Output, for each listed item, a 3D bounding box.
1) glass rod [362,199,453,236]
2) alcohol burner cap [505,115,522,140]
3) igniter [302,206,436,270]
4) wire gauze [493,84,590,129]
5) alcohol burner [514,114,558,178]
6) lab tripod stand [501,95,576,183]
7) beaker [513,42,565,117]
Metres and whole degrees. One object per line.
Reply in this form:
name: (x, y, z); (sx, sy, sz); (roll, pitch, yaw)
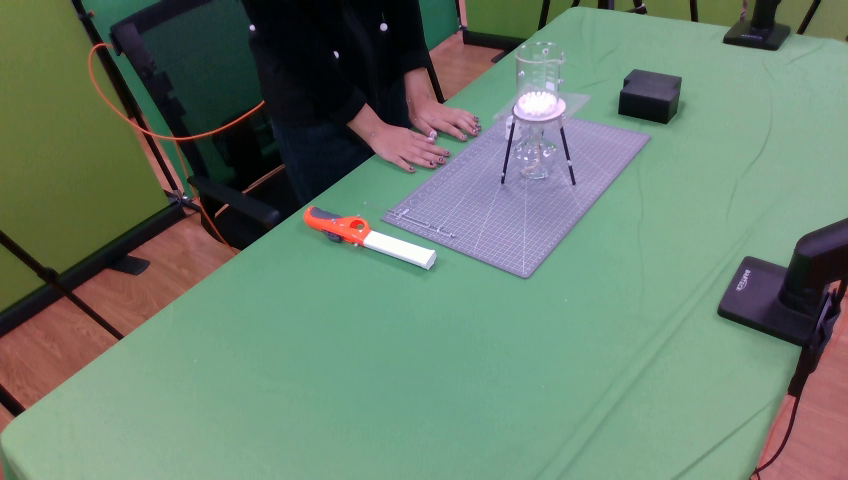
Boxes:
glass rod: (-0.031, -0.041, 1.041); (0.198, 0.008, 0.008); (22, 50, 31)
alcohol burner cap: (0.175, -0.223, 1.192); (0.034, 0.048, 0.033); (-6, 40, 5)
igniter: (-0.101, -0.007, 1.004); (0.274, 0.025, 0.057); (19, 58, 29)
wire gauze: (0.197, -0.223, 1.013); (0.120, 0.011, 0.125); (21, 47, 28)
alcohol burner: (0.198, -0.170, 1.069); (0.078, 0.119, 0.077); (-4, 40, 4)
lab tripod stand: (0.204, -0.174, 1.057); (0.148, 0.132, 0.147); (-4, 40, 4)
beaker: (0.187, -0.257, 0.981); (0.083, 0.101, 0.074); (21, 49, 29)
